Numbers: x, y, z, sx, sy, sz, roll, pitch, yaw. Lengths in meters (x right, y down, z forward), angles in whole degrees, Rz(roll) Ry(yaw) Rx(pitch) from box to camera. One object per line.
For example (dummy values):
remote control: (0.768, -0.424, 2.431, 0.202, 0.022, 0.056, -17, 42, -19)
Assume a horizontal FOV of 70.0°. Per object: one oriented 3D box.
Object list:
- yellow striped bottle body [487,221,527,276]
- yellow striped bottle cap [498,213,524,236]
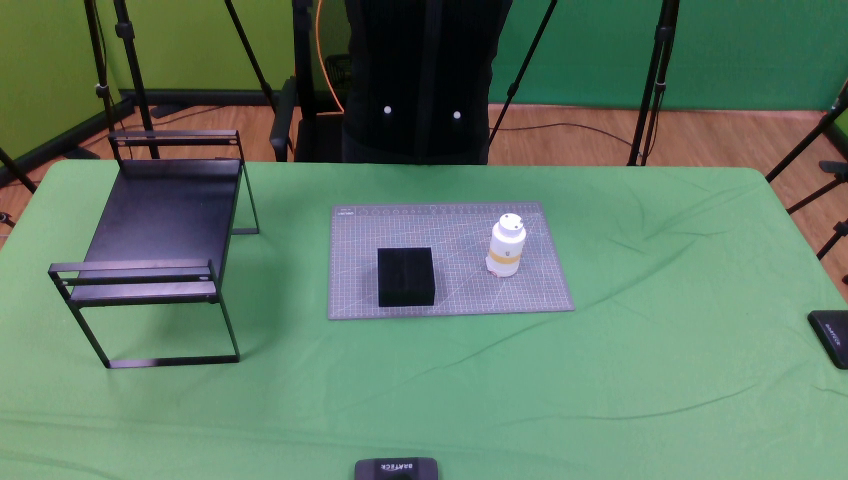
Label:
yellow striped bottle body: (0.155, 0.007, 1.128, 0.063, 0.121, 0.062, 2, 46, -2)
yellow striped bottle cap: (0.157, -0.029, 1.090, 0.044, 0.019, 0.044, 4, 44, -4)
